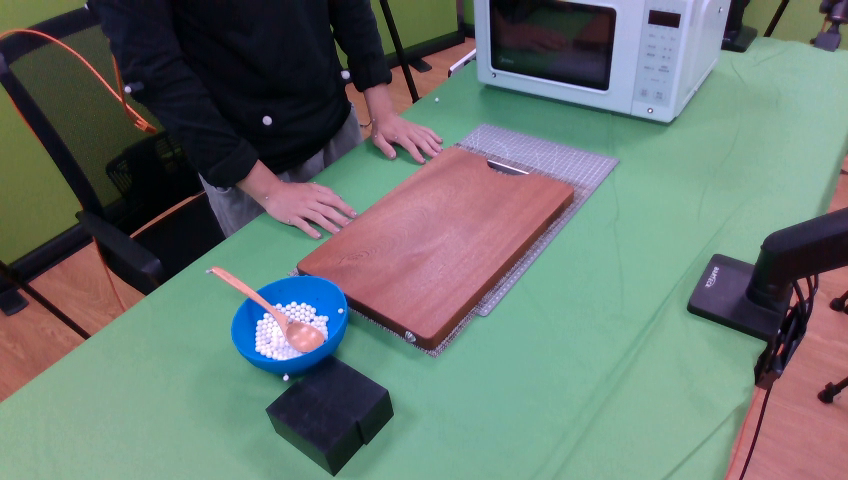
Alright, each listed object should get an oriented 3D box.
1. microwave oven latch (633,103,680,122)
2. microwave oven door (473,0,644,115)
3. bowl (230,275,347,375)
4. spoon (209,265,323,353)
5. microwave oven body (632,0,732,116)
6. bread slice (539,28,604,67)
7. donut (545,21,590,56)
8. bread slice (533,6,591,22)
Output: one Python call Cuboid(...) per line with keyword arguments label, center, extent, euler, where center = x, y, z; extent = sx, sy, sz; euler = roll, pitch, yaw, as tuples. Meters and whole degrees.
Cuboid(label="microwave oven latch", center=(0.444, -0.249, 1.157), extent=(0.078, 0.029, 0.030), euler=(21, 49, 30))
Cuboid(label="microwave oven door", center=(0.257, -0.396, 1.199), extent=(0.353, 0.245, 0.039), euler=(21, 48, 29))
Cuboid(label="bowl", center=(-0.171, 0.125, 0.802), extent=(0.151, 0.077, 0.150), euler=(-4, 40, 4))
Cuboid(label="spoon", center=(-0.213, 0.087, 0.806), extent=(0.193, 0.021, 0.042), euler=(37, 56, 11))
Cuboid(label="microwave oven body", center=(0.377, -0.462, 1.267), extent=(0.438, 0.261, 0.327), euler=(21, 48, 30))
Cuboid(label="bread slice", center=(0.331, -0.429, 1.340), extent=(0.104, 0.019, 0.132), euler=(22, 59, 41))
Cuboid(label="donut", center=(0.309, -0.434, 1.298), extent=(0.099, 0.048, 0.098), euler=(-22, 34, 17))
Cuboid(label="bread slice", center=(0.295, -0.479, 1.278), extent=(0.106, 0.018, 0.134), euler=(7, 29, 20))
